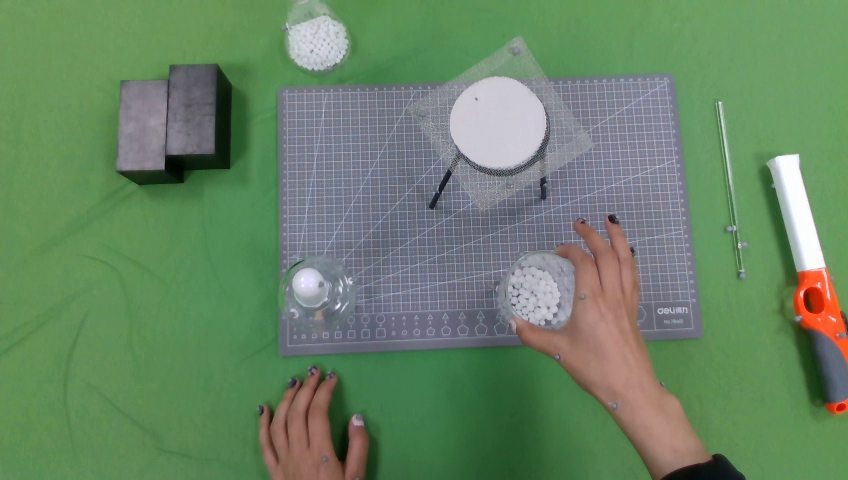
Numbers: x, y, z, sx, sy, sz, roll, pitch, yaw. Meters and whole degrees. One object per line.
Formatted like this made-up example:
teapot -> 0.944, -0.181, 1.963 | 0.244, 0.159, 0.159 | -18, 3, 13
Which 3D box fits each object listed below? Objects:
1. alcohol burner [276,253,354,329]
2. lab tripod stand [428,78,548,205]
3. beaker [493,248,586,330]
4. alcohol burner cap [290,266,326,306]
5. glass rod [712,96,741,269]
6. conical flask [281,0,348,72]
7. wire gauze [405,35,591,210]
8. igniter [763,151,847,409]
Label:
alcohol burner -> -0.109, 0.048, 0.592 | 0.078, 0.119, 0.077 | 0, 79, -2
lab tripod stand -> 0.065, -0.090, 0.608 | 0.148, 0.132, 0.148 | 0, 82, 0
beaker -> 0.111, 0.051, 0.603 | 0.084, 0.100, 0.073 | -21, 81, -5
alcohol burner cap -> -0.108, 0.039, 0.557 | 0.034, 0.048, 0.033 | 2, 72, -6
glass rod -> 0.337, -0.067, 0.674 | 0.008, 0.008, 0.199 | -3, 81, -2
conical flask -> -0.124, -0.236, 0.637 | 0.075, 0.122, 0.075 | 0, 80, 0
wire gauze -> 0.066, -0.106, 0.542 | 0.125, 0.011, 0.121 | -32, 84, -5
igniter -> 0.413, 0.038, 0.649 | 0.057, 0.025, 0.275 | -7, 81, -13
